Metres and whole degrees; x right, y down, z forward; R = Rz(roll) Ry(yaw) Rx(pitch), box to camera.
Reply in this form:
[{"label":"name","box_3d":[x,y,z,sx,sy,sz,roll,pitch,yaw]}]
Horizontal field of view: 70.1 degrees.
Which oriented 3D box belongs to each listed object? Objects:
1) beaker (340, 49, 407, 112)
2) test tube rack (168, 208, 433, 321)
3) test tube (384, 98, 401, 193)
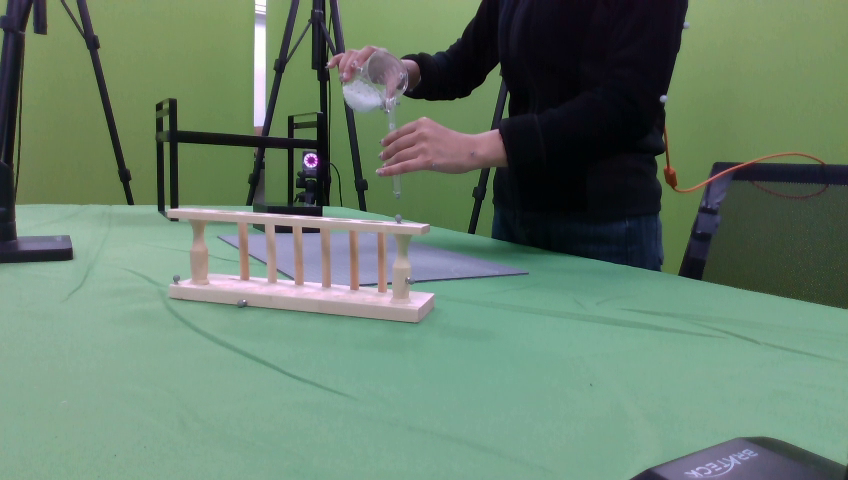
[{"label":"beaker","box_3d":[-0.084,-0.251,0.977,0.074,0.084,0.100,-6,-3,-33]},{"label":"test tube rack","box_3d":[-0.116,0.017,0.574,0.242,0.085,0.067,4,8,13]},{"label":"test tube","box_3d":[-0.048,-0.145,0.924,0.017,0.150,0.017,-5,-9,0]}]
